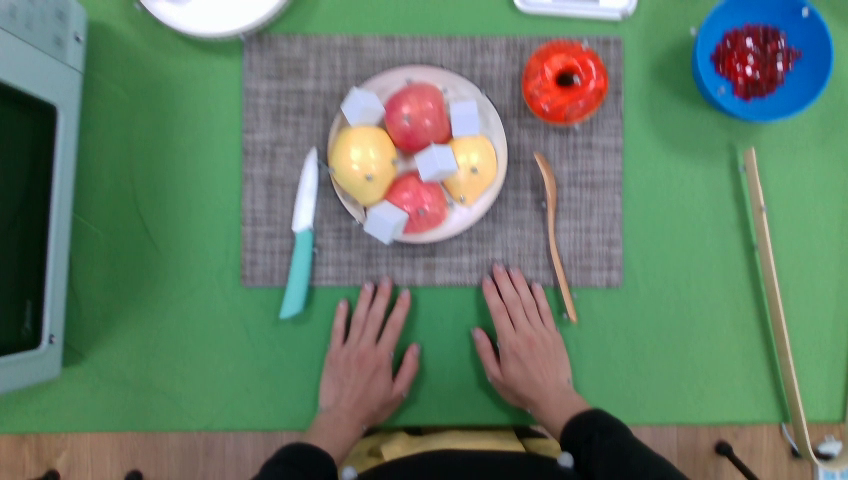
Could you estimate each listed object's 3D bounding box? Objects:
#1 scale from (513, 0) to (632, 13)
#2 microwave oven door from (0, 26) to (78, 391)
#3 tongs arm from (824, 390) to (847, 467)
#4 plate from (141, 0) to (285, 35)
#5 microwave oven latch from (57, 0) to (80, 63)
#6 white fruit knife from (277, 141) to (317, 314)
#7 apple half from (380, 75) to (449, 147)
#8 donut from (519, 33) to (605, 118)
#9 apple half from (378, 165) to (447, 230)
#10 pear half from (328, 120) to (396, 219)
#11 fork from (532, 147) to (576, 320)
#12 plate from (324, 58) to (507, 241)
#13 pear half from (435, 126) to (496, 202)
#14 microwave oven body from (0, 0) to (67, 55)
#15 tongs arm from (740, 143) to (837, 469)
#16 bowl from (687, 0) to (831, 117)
[{"bbox_3d":[0.180,-0.374,0.713,0.149,0.031,0.200,5,89,0],"label":"scale"},{"bbox_3d":[-0.423,-0.028,0.580,0.039,0.244,0.355,2,89,0],"label":"microwave oven door"},{"bbox_3d":[0.507,0.070,0.707,0.028,0.027,0.387,6,90,-6],"label":"tongs arm"},{"bbox_3d":[-0.242,-0.338,0.706,0.208,0.039,0.207,0,89,0],"label":"plate"},{"bbox_3d":[-0.410,-0.244,0.685,0.030,0.029,0.079,4,90,-1],"label":"microwave oven latch"},{"bbox_3d":[-0.144,-0.015,0.709,0.027,0.016,0.207,8,88,-11],"label":"white fruit knife"},{"bbox_3d":[-0.012,-0.146,0.684,0.074,0.053,0.081,-12,92,2],"label":"apple half"},{"bbox_3d":[0.158,-0.189,0.699,0.099,0.048,0.099,0,89,3],"label":"donut"},{"bbox_3d":[-0.013,-0.049,0.690,0.081,0.033,0.081,0,83,-3],"label":"apple half"},{"bbox_3d":[-0.067,-0.079,0.678,0.076,0.056,0.110,-7,93,-8],"label":"pear half"},{"bbox_3d":[0.153,-0.008,0.709,0.018,0.028,0.207,-9,92,27],"label":"fork"},{"bbox_3d":[-0.009,-0.102,0.700,0.209,0.038,0.209,0,89,-1],"label":"plate"},{"bbox_3d":[0.045,-0.089,0.694,0.070,0.031,0.088,3,87,13],"label":"pear half"},{"bbox_3d":[-0.567,-0.078,0.585,0.326,0.260,0.441,3,89,-1],"label":"microwave oven body"},{"bbox_3d":[0.423,0.075,0.705,0.051,0.026,0.384,-8,90,-3],"label":"tongs arm"},{"bbox_3d":[0.363,-0.207,0.688,0.151,0.077,0.151,0,90,0],"label":"bowl"}]
